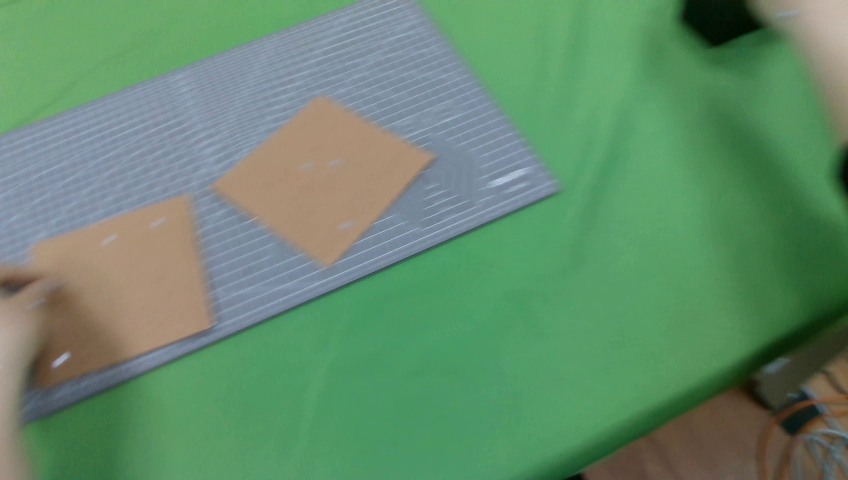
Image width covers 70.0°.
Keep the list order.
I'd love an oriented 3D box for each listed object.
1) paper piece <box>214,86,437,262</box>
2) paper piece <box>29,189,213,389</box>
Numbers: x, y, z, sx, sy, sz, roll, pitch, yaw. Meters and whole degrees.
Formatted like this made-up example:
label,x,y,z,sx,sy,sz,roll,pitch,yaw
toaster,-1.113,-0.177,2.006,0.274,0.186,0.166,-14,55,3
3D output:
label,x,y,z,sx,sy,sz,roll,pitch,yaw
paper piece,-0.082,-0.062,0.504,0.134,0.004,0.135,33,68,23
paper piece,-0.236,0.030,0.466,0.138,0.009,0.134,-20,55,-4
